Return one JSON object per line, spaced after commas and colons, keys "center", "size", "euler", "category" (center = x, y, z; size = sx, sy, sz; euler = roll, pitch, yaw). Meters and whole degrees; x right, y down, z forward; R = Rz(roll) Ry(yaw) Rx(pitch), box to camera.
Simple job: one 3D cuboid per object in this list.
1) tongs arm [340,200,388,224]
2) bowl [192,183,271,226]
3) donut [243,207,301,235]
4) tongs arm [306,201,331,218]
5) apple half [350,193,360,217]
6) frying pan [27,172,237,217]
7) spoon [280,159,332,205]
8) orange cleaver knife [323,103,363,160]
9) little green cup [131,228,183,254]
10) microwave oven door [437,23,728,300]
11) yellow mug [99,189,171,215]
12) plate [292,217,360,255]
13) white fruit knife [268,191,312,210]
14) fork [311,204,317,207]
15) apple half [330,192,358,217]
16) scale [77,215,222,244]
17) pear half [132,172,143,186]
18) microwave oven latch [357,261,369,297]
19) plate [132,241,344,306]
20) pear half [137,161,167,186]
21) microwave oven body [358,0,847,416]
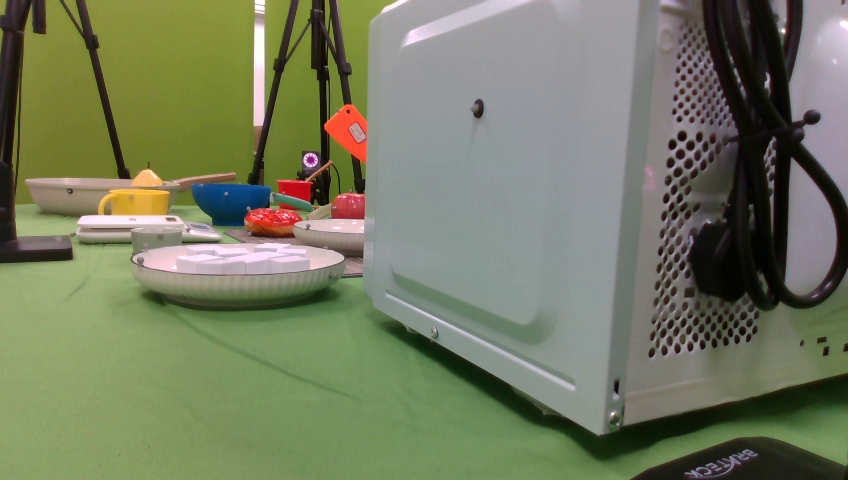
{"center": [-0.149, -0.070, 1.429], "size": [0.051, 0.026, 0.383], "euler": [-2, 8, -15], "category": "tongs arm"}
{"center": [-0.382, -0.071, 1.202], "size": [0.151, 0.077, 0.151], "euler": [3, 7, 0], "category": "bowl"}
{"center": [-0.261, -0.032, 1.043], "size": [0.099, 0.048, 0.099], "euler": [4, 9, 0], "category": "donut"}
{"center": [-0.234, -0.070, 1.413], "size": [0.028, 0.028, 0.387], "euler": [-4, 7, 0], "category": "tongs arm"}
{"center": [-0.112, -0.053, 1.133], "size": [0.033, 0.081, 0.081], "euler": [1, 7, 15], "category": "apple half"}
{"center": [-0.624, -0.118, 1.387], "size": [0.305, 0.102, 0.490], "euler": [8, 17, 32], "category": "frying pan"}
{"center": [-0.316, -0.159, 1.640], "size": [0.194, 0.022, 0.041], "euler": [-50, 32, -20], "category": "spoon"}
{"center": [-0.088, -0.175, 1.132], "size": [0.212, 0.077, 0.012], "euler": [32, -2, -25], "category": "orange cleaver knife"}
{"center": [-0.342, 0.006, 0.779], "size": [0.061, 0.038, 0.061], "euler": [2, 8, 0], "category": "little green cup"}
{"center": [0.180, -0.072, 0.621], "size": [0.358, 0.243, 0.039], "euler": [-2, 8, -29], "category": "microwave oven door"}
{"center": [-0.518, -0.055, 1.080], "size": [0.099, 0.064, 0.131], "euler": [7, 9, 26], "category": "yellow mug"}
{"center": [-0.098, -0.007, 0.928], "size": [0.209, 0.038, 0.209], "euler": [2, 8, 0], "category": "plate"}
{"center": [-0.364, -0.105, 1.464], "size": [0.208, 0.027, 0.016], "euler": [15, 0, -34], "category": "white fruit knife"}
{"center": [-0.356, -0.105, 1.526], "size": [0.208, 0.018, 0.028], "euler": [16, -6, -41], "category": "fork"}
{"center": [-0.149, -0.055, 1.142], "size": [0.053, 0.074, 0.081], "euler": [1, 10, 14], "category": "apple half"}
{"center": [-0.434, -0.019, 0.963], "size": [0.202, 0.031, 0.148], "euler": [-1, 9, -27], "category": "scale"}
{"center": [-0.638, -0.113, 1.361], "size": [0.031, 0.088, 0.070], "euler": [5, 10, 4], "category": "pear half"}
{"center": [-0.019, 0.033, 0.531], "size": [0.079, 0.029, 0.030], "euler": [-1, 7, -27], "category": "microwave oven latch"}
{"center": [-0.187, 0.033, 0.625], "size": [0.208, 0.039, 0.207], "euler": [2, 8, 0], "category": "plate"}
{"center": [-0.602, -0.120, 1.354], "size": [0.056, 0.110, 0.076], "euler": [4, 11, 6], "category": "pear half"}
{"center": [0.211, -0.047, 0.474], "size": [0.444, 0.260, 0.324], "euler": [-1, 7, -28], "category": "microwave oven body"}
